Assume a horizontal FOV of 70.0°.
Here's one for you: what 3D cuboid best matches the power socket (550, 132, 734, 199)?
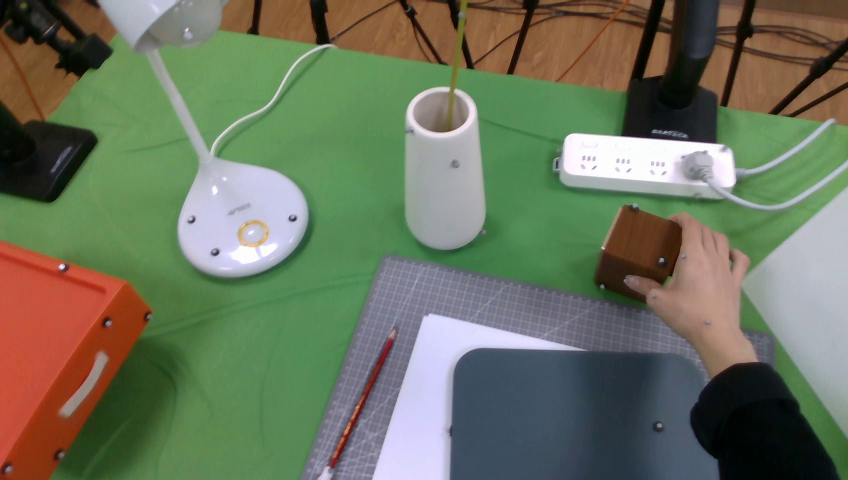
[{"bbox_3d":[0.277,-0.096,0.775,0.226,0.033,0.071,6,59,6],"label":"power socket"}]

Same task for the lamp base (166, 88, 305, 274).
[{"bbox_3d":[-0.242,-0.075,0.701,0.160,0.182,0.177,-37,60,-19],"label":"lamp base"}]

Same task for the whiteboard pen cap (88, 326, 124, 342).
[{"bbox_3d":[-0.331,0.098,0.629,0.033,0.018,0.018,0,57,12],"label":"whiteboard pen cap"}]

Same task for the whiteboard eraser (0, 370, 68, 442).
[{"bbox_3d":[-0.408,0.159,0.590,0.112,0.042,0.055,7,52,16],"label":"whiteboard eraser"}]

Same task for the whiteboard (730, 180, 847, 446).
[{"bbox_3d":[0.492,0.033,0.559,0.144,0.307,0.215,-7,55,-23],"label":"whiteboard"}]

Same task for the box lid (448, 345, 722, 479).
[{"bbox_3d":[0.152,0.272,0.563,0.263,0.015,0.368,1,59,3],"label":"box lid"}]

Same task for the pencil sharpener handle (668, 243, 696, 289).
[{"bbox_3d":[0.273,0.031,0.628,0.030,0.068,0.036,22,72,18],"label":"pencil sharpener handle"}]

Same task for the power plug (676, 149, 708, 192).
[{"bbox_3d":[0.322,-0.079,0.734,0.035,0.053,0.072,15,62,13],"label":"power plug"}]

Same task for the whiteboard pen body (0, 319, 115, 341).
[{"bbox_3d":[-0.392,0.095,0.634,0.141,0.017,0.017,4,58,3],"label":"whiteboard pen body"}]

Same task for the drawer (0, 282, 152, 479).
[{"bbox_3d":[-0.420,0.109,0.602,0.211,0.074,0.193,15,61,12],"label":"drawer"}]

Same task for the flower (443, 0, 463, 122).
[{"bbox_3d":[0.024,-0.132,0.615,0.038,0.365,0.043,2,40,-4],"label":"flower"}]

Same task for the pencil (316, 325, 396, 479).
[{"bbox_3d":[-0.068,0.171,0.637,0.012,0.012,0.193,18,59,14],"label":"pencil"}]

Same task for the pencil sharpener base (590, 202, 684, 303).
[{"bbox_3d":[0.230,0.017,0.654,0.076,0.108,0.061,22,72,18],"label":"pencil sharpener base"}]

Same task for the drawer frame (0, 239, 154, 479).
[{"bbox_3d":[-0.426,0.110,0.604,0.213,0.083,0.200,16,60,10],"label":"drawer frame"}]

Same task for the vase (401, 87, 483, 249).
[{"bbox_3d":[0.017,-0.075,0.677,0.098,0.202,0.097,-2,57,4],"label":"vase"}]

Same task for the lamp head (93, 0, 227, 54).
[{"bbox_3d":[-0.210,-0.216,0.445,0.112,0.112,0.123,-45,104,-22],"label":"lamp head"}]
